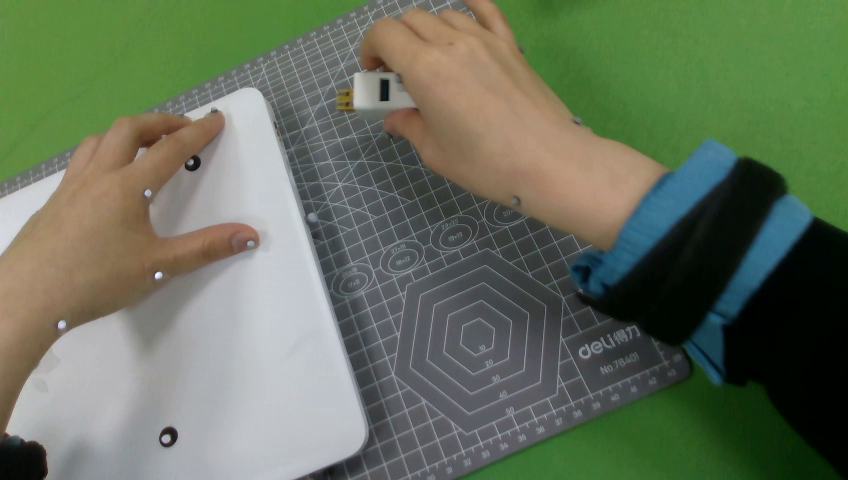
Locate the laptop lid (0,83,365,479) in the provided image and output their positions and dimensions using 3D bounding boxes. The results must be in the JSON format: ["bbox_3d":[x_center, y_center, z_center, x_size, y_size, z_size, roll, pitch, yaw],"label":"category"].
[{"bbox_3d":[-0.227,0.067,0.354,0.356,0.013,0.240,-21,71,5],"label":"laptop lid"}]

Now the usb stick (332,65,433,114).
[{"bbox_3d":[-0.025,-0.085,0.343,0.059,0.027,0.021,0,86,8],"label":"usb stick"}]

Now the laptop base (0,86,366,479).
[{"bbox_3d":[-0.225,0.069,0.366,0.354,0.023,0.234,-23,72,4],"label":"laptop base"}]
